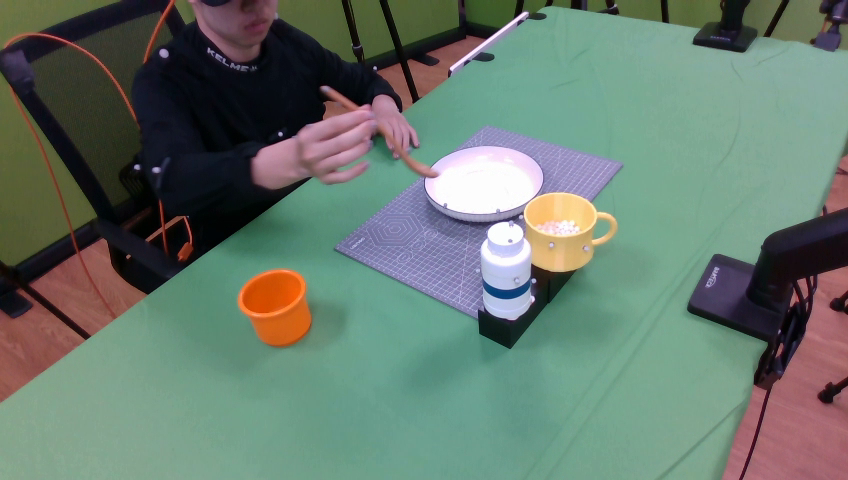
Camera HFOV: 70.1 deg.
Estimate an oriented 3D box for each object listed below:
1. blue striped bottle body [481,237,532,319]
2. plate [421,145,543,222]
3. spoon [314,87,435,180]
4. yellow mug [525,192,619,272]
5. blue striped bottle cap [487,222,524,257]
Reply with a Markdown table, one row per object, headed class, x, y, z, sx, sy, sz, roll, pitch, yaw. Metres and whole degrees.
| class | x | y | z | sx | sy | sz | roll | pitch | yaw |
| --- | --- | --- | --- | --- | --- | --- | --- | --- | --- |
| blue striped bottle body | 0.104 | 0.037 | 0.756 | 0.063 | 0.121 | 0.063 | -4 | 40 | 4 |
| plate | 0.101 | -0.094 | 1.048 | 0.207 | 0.039 | 0.206 | -4 | 41 | 4 |
| spoon | -0.060 | -0.133 | 0.772 | 0.021 | 0.195 | 0.041 | -45 | 27 | 11 |
| yellow mug | 0.206 | -0.014 | 0.845 | 0.131 | 0.064 | 0.099 | -4 | 41 | 2 |
| blue striped bottle cap | 0.097 | -0.001 | 0.722 | 0.044 | 0.021 | 0.044 | -2 | 39 | 2 |
